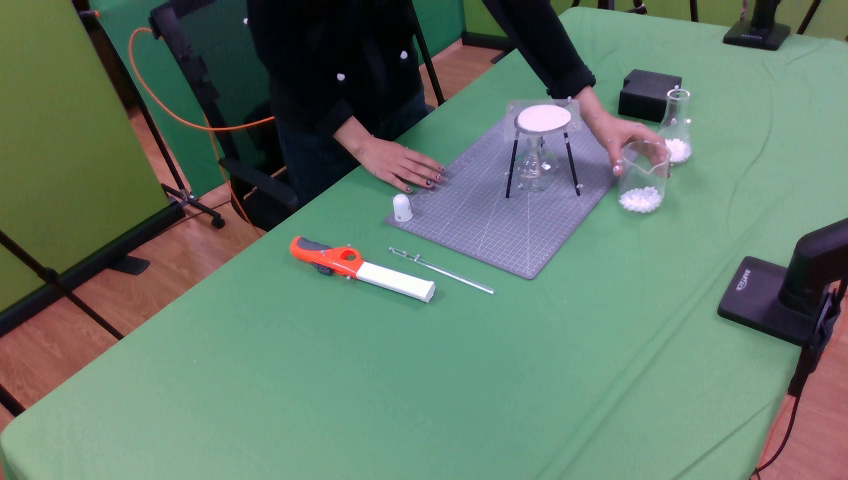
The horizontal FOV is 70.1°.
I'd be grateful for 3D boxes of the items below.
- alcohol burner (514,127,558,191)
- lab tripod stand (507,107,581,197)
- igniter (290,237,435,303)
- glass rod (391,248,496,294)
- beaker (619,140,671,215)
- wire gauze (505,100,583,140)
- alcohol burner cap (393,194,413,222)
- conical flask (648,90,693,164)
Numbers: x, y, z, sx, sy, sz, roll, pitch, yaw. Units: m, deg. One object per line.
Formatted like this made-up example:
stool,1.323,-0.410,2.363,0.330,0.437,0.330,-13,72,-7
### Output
alcohol burner,0.192,-0.145,1.044,0.078,0.119,0.077,-5,42,5
lab tripod stand,0.201,-0.151,1.033,0.148,0.132,0.147,-7,38,6
igniter,-0.106,0.044,0.949,0.274,0.025,0.057,16,57,28
glass rod,0.026,0.046,0.937,0.198,0.008,0.008,22,50,31
beaker,0.352,-0.096,0.971,0.074,0.101,0.084,1,42,13
wire gauze,0.194,-0.200,0.987,0.121,0.011,0.124,-1,39,11
alcohol burner cap,-0.038,-0.056,1.038,0.034,0.048,0.033,-6,40,5
conical flask,0.437,-0.199,1.057,0.075,0.122,0.075,-5,40,5
